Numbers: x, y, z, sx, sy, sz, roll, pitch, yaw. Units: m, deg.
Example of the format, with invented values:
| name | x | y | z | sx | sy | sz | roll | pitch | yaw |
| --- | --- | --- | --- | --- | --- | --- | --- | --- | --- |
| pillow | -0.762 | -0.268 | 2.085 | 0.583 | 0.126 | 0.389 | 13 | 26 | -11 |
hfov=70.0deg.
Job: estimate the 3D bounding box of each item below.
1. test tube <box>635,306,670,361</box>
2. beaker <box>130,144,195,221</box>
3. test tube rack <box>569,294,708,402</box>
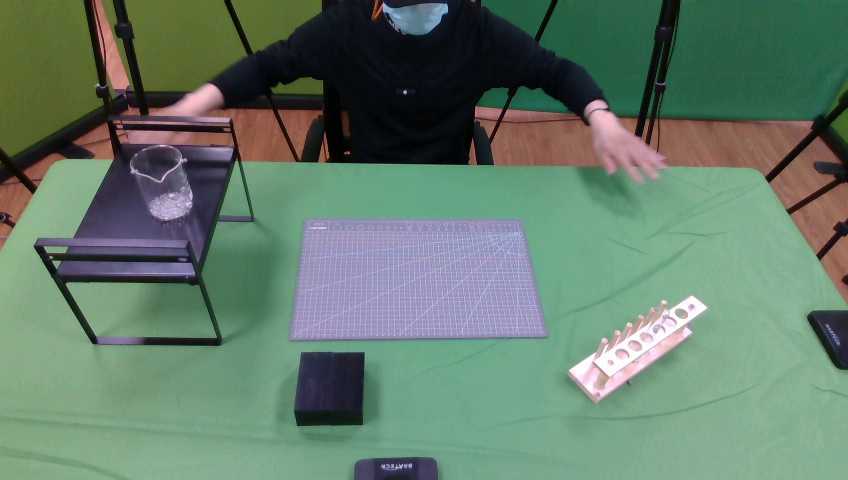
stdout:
| name | x | y | z | sx | sy | sz | roll | pitch | yaw |
| --- | --- | --- | --- | --- | --- | --- | --- | --- | --- |
| test tube | 0.358 | 0.151 | 0.960 | 0.017 | 0.151 | 0.017 | 1 | 51 | -1 |
| beaker | -0.403 | -0.085 | 0.944 | 0.074 | 0.101 | 0.083 | -15 | 50 | -17 |
| test tube rack | 0.360 | 0.167 | 1.015 | 0.242 | 0.085 | 0.066 | -25 | 53 | -25 |
